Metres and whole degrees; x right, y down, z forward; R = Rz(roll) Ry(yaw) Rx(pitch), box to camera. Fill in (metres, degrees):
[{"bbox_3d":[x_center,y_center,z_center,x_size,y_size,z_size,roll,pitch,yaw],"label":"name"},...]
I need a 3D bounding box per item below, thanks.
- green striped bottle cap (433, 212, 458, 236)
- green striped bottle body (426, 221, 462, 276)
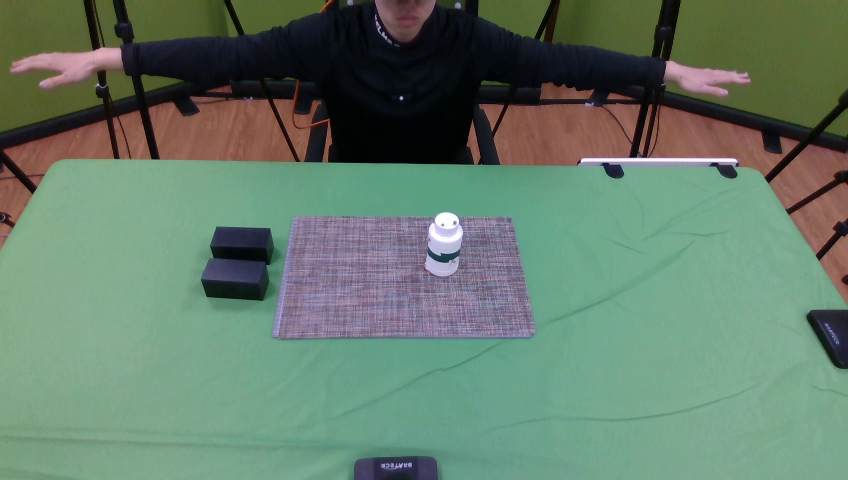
[{"bbox_3d":[0.039,-0.030,1.085,0.044,0.020,0.044,3,46,-3],"label":"green striped bottle cap"},{"bbox_3d":[0.037,0.007,1.122,0.063,0.120,0.063,2,46,-2],"label":"green striped bottle body"}]
